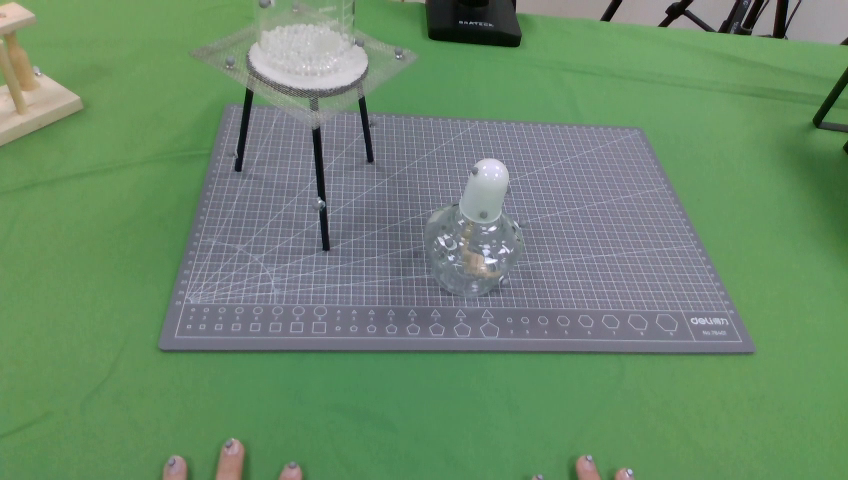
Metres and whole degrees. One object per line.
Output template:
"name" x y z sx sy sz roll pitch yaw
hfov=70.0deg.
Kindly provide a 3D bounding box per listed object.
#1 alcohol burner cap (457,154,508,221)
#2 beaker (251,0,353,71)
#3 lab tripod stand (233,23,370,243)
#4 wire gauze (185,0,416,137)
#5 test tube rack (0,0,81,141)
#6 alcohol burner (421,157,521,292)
"alcohol burner cap" 0.044 -0.040 0.432 0.034 0.048 0.033 5 51 -5
"beaker" -0.086 -0.175 0.416 0.073 0.101 0.084 39 54 23
"lab tripod stand" -0.093 -0.092 0.495 0.149 0.132 0.147 6 47 -6
"wire gauze" -0.088 -0.137 0.448 0.124 0.011 0.121 34 53 16
"test tube rack" -0.422 -0.110 0.494 0.066 0.086 0.242 31 50 19
"alcohol burner" 0.039 -0.016 0.459 0.078 0.120 0.077 6 45 -6
